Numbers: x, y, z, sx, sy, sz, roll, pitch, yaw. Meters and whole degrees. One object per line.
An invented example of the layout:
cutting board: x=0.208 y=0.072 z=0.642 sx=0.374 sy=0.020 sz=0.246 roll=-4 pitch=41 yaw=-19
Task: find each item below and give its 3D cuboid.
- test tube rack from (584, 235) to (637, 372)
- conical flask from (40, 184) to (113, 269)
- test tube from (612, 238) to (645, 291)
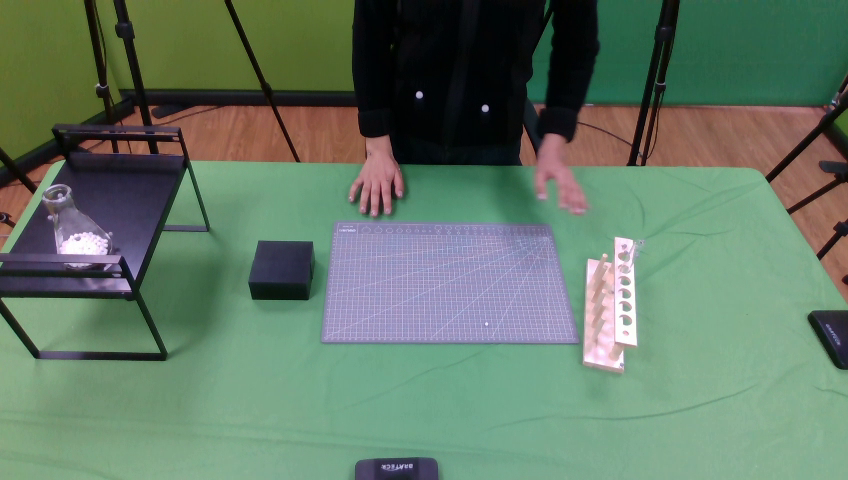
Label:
test tube rack: x=0.329 y=0.103 z=1.073 sx=0.067 sy=0.085 sz=0.241 roll=11 pitch=47 yaw=7
conical flask: x=-0.501 y=-0.022 z=0.861 sx=0.075 sy=0.122 sz=0.075 roll=1 pitch=46 yaw=-1
test tube: x=0.355 y=0.046 z=1.061 sx=0.017 sy=0.151 sz=0.017 roll=1 pitch=54 yaw=-1
